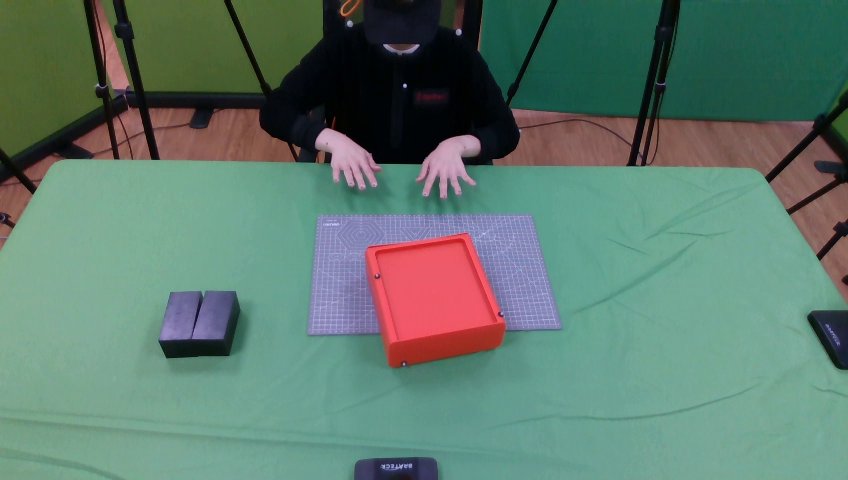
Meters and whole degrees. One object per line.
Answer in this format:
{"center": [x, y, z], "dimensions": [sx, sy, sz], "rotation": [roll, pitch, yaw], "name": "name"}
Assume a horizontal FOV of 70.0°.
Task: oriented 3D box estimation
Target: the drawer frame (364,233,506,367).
{"center": [0.013, 0.098, 1.058], "dimensions": [0.202, 0.083, 0.212], "rotation": [-9, 48, -12], "name": "drawer frame"}

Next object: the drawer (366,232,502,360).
{"center": [0.012, 0.093, 1.064], "dimensions": [0.195, 0.073, 0.210], "rotation": [-8, 48, -12], "name": "drawer"}

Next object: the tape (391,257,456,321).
{"center": [0.000, 0.086, 1.075], "dimensions": [0.117, 0.053, 0.116], "rotation": [2, 44, -2], "name": "tape"}
